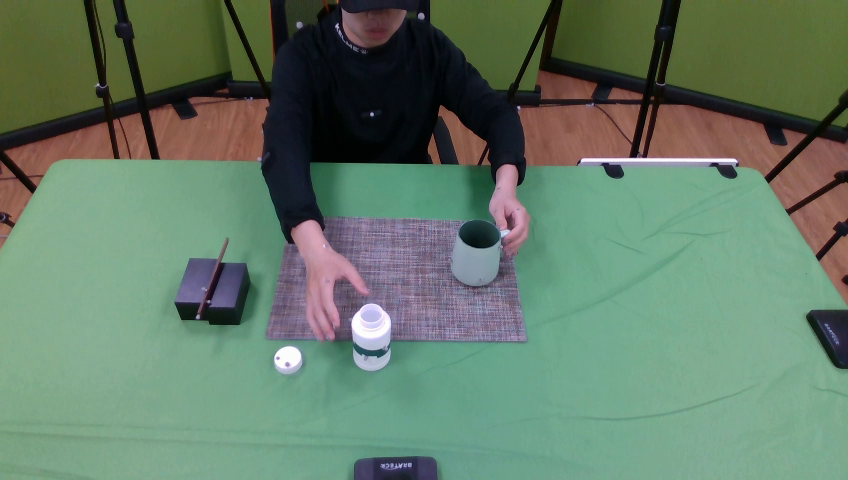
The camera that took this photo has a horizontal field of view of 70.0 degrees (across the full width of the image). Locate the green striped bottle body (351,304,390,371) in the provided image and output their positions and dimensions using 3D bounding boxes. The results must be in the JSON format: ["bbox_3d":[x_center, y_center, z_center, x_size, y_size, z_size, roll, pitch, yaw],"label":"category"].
[{"bbox_3d":[-0.086,0.154,0.975,0.063,0.120,0.063,3,47,-3],"label":"green striped bottle body"}]

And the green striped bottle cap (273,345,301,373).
[{"bbox_3d":[-0.225,0.195,0.997,0.044,0.020,0.044,1,50,-1],"label":"green striped bottle cap"}]

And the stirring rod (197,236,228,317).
[{"bbox_3d":[-0.363,0.060,1.047,0.006,0.014,0.175,7,46,-4],"label":"stirring rod"}]

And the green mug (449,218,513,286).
[{"bbox_3d":[0.110,0.018,1.126,0.125,0.105,0.092,-19,50,-21],"label":"green mug"}]
